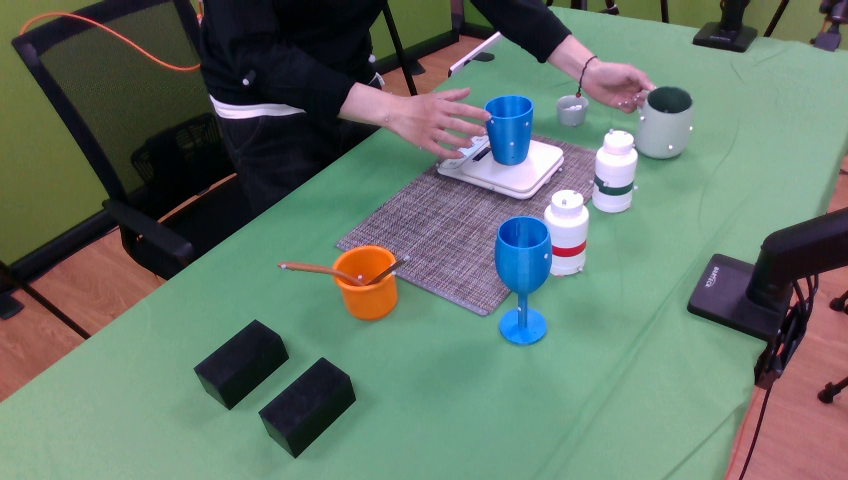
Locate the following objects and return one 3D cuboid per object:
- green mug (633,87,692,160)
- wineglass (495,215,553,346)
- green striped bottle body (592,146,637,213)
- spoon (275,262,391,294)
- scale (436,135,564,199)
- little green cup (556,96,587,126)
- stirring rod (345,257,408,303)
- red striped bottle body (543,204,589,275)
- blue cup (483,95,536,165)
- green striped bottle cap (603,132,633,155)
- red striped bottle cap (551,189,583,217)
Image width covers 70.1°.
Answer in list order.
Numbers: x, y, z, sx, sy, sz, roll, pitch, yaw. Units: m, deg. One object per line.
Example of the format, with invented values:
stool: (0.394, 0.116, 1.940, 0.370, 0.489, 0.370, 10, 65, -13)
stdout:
green mug: (0.420, -0.218, 1.089, 0.093, 0.105, 0.124, -19, 50, -7)
wineglass: (0.127, 0.054, 0.770, 0.074, 0.173, 0.073, -4, 40, 4)
green striped bottle body: (0.307, -0.108, 0.976, 0.063, 0.120, 0.063, -4, 41, 4)
spoon: (-0.120, 0.050, 0.830, 0.041, 0.195, 0.021, 31, 97, 45)
scale: (0.137, -0.142, 1.101, 0.199, 0.032, 0.149, 22, 48, 30)
little green cup: (0.295, -0.258, 1.214, 0.061, 0.039, 0.061, -4, 41, 4)
stirring rod: (-0.067, 0.056, 0.814, 0.014, 0.175, 0.006, -23, 81, -38)
red striped bottle body: (0.206, -0.011, 0.877, 0.063, 0.120, 0.062, -5, 41, 4)
blue cup: (0.148, -0.188, 1.053, 0.092, 0.100, 0.092, -5, 39, 5)
green striped bottle cap: (0.302, -0.149, 0.939, 0.044, 0.020, 0.044, -3, 40, 3)
red striped bottle cap: (0.200, -0.052, 0.843, 0.044, 0.018, 0.044, -2, 43, 2)
